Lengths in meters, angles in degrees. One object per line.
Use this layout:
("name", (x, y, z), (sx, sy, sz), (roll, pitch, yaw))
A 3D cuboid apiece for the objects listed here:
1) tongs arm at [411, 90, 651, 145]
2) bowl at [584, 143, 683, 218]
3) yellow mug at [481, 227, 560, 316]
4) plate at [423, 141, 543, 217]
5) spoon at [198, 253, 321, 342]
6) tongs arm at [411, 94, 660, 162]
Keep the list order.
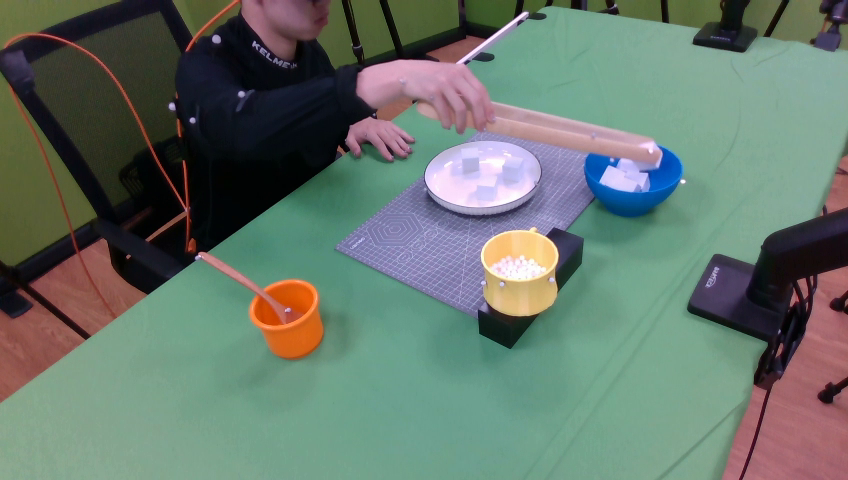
("tongs arm", (0.172, -0.184, 0.936), (0.389, 0.028, 0.028), (9, 40, -10))
("bowl", (0.335, -0.089, 0.982), (0.151, 0.077, 0.150), (-4, 40, 3))
("yellow mug", (0.131, 0.032, 0.801), (0.099, 0.064, 0.131), (11, 43, 20))
("plate", (0.103, -0.103, 1.059), (0.207, 0.039, 0.206), (-4, 40, 4))
("spoon", (-0.220, 0.075, 0.814), (0.021, 0.194, 0.041), (-37, 18, 39))
("tongs arm", (0.172, -0.168, 0.914), (0.386, 0.026, 0.050), (7, 37, -12))
